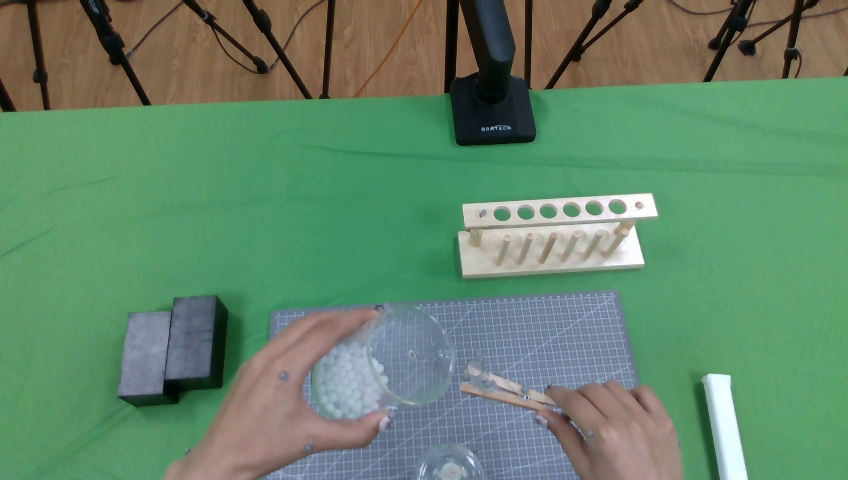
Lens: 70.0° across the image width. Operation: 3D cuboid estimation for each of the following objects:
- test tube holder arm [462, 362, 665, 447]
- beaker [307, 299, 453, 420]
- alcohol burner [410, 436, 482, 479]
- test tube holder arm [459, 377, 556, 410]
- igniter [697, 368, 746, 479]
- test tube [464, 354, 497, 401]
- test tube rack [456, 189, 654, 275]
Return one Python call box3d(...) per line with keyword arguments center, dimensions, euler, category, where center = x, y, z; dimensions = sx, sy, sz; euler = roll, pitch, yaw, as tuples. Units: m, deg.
box3d(center=(0.117, 0.141, 0.525), dimensions=(0.177, 0.015, 0.013), euler=(16, 75, 18), category="test tube holder arm")
box3d(center=(-0.037, 0.095, 0.465), dimensions=(0.084, 0.100, 0.073), euler=(3, 67, -39), category="beaker")
box3d(center=(0.024, 0.243, 0.635), dimensions=(0.078, 0.120, 0.077), euler=(1, 61, -2), category="alcohol burner")
box3d(center=(0.074, 0.136, 0.537), dimensions=(0.087, 0.015, 0.010), euler=(8, 72, 16), category="test tube holder arm")
box3d(center=(0.345, 0.281, 0.678), dimensions=(0.057, 0.025, 0.274), euler=(7, 63, -9), category="igniter")
box3d(center=(0.053, 0.126, 0.542), dimensions=(0.017, 0.151, 0.017), euler=(-4, 66, 11), category="test tube")
box3d(center=(0.167, -0.010, 0.785), dimensions=(0.242, 0.086, 0.066), euler=(-4, 63, -3), category="test tube rack")
